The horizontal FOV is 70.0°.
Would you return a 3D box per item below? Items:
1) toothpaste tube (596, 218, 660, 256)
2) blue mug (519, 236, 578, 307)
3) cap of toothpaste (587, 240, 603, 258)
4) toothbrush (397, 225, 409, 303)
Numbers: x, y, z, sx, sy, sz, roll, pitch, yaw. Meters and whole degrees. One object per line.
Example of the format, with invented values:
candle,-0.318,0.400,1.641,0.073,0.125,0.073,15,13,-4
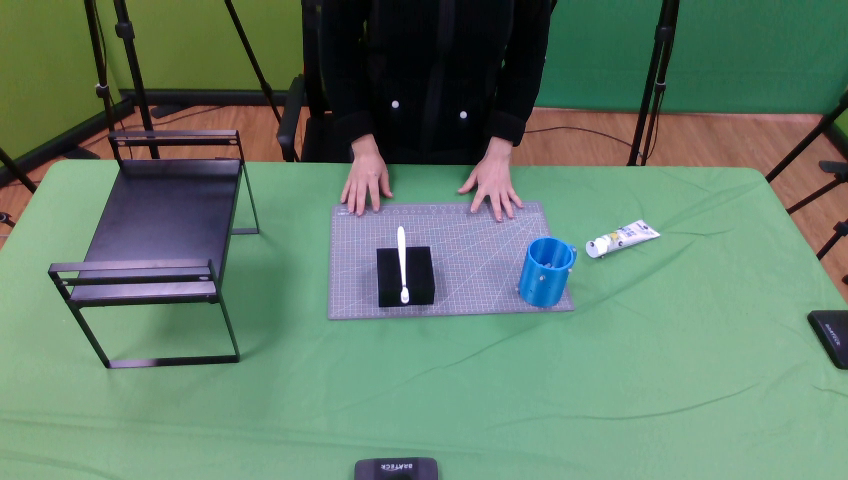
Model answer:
toothpaste tube,0.405,-0.005,1.226,0.165,0.034,0.054,-20,55,-26
blue mug,0.234,0.052,1.102,0.116,0.106,0.082,-23,52,-24
cap of toothpaste,0.337,0.016,1.193,0.011,0.037,0.037,-20,51,-26
toothbrush,-0.038,0.038,1.090,0.014,0.017,0.180,-6,46,0
